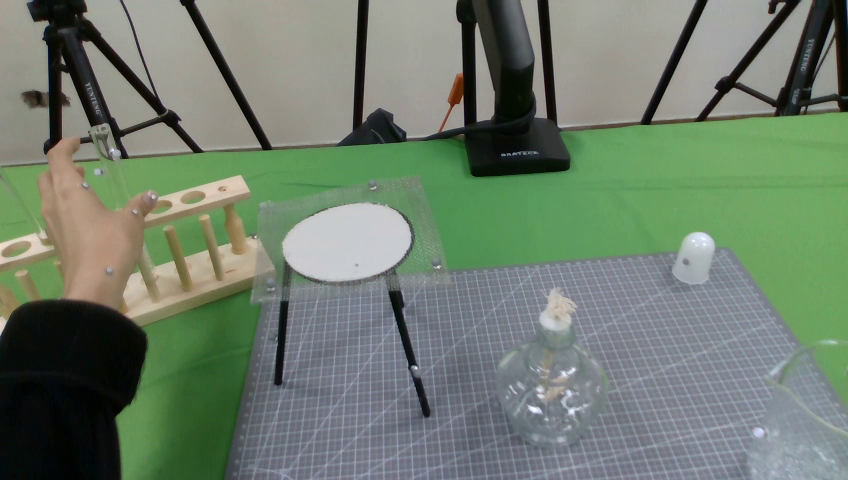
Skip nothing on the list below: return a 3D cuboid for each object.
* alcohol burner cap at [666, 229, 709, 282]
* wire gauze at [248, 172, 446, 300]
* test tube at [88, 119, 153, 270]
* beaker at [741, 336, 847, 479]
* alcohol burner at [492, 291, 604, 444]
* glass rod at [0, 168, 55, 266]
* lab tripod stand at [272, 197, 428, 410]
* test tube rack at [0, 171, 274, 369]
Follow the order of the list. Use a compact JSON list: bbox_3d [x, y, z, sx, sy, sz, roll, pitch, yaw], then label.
[{"bbox_3d":[0.242,0.011,0.553,0.034,0.048,0.033,-2,38,2],"label":"alcohol burner cap"},{"bbox_3d":[-0.056,-0.005,0.411,0.125,0.011,0.120,-8,38,-5],"label":"wire gauze"},{"bbox_3d":[-0.265,-0.034,0.533,0.017,0.151,0.017,0,35,0],"label":"test tube"},{"bbox_3d":[0.240,0.119,0.369,0.083,0.101,0.073,9,40,16],"label":"beaker"},{"bbox_3d":[0.085,0.083,0.414,0.078,0.120,0.077,-2,36,2],"label":"alcohol burner"},{"bbox_3d":[-0.325,-0.020,0.493,0.008,0.201,0.008,-3,41,3],"label":"glass rod"},{"bbox_3d":[-0.053,0.047,0.453,0.148,0.133,0.147,-2,40,2],"label":"lab tripod stand"},{"bbox_3d":[-0.269,0.022,0.544,0.243,0.086,0.066,-20,41,-20],"label":"test tube rack"}]
